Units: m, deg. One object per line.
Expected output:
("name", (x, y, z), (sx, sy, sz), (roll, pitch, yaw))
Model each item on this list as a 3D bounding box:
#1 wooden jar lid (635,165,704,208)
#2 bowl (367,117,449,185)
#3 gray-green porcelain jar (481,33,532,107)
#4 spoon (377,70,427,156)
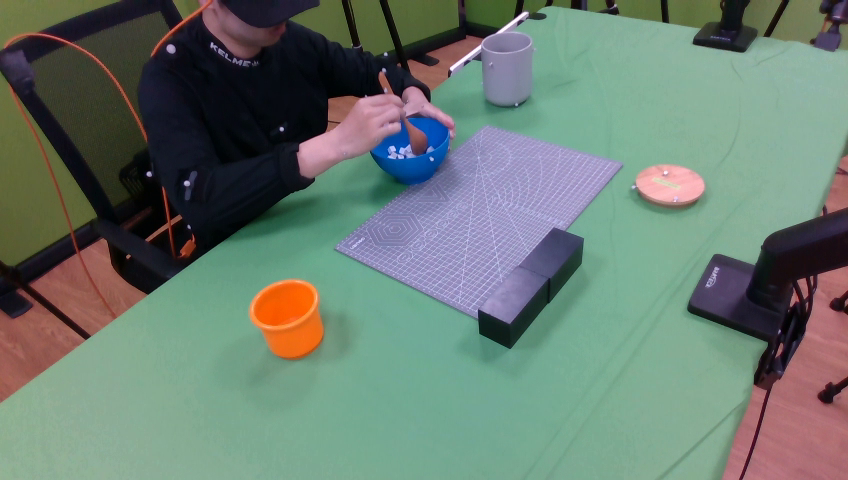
("wooden jar lid", (0.410, -0.089, 1.014), (0.108, 0.021, 0.108), (-5, 42, 5))
("bowl", (-0.023, -0.154, 1.107), (0.151, 0.077, 0.150), (-6, 39, 6))
("gray-green porcelain jar", (0.175, -0.355, 1.278), (0.106, 0.127, 0.105), (-4, 41, 4))
("spoon", (-0.040, -0.218, 1.053), (0.041, 0.195, 0.021), (-48, 45, -13))
